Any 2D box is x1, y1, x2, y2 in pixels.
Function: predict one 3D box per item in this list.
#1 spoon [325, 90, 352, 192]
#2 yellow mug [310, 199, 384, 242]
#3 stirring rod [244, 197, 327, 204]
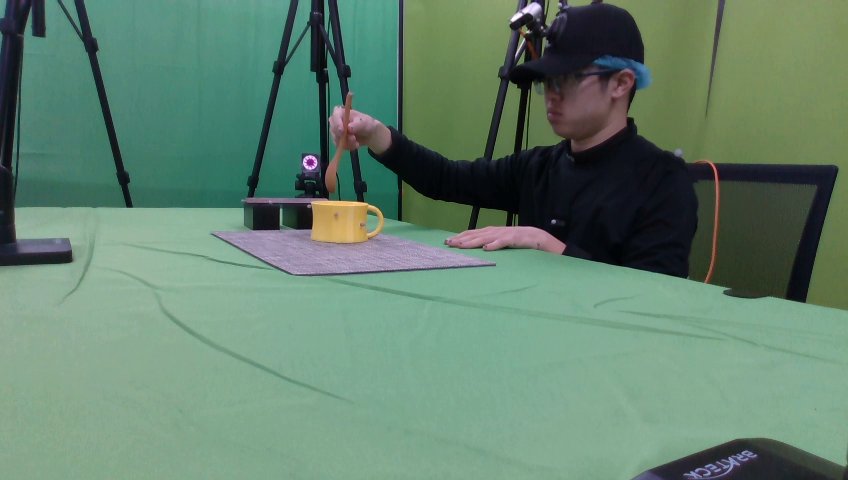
[{"bbox_3d":[-0.159,-0.184,1.135,0.022,0.193,0.041,10,13,-32],"label":"spoon"},{"bbox_3d":[-0.132,-0.035,1.054,0.131,0.064,0.099,0,8,-23],"label":"yellow mug"},{"bbox_3d":[-0.270,-0.078,1.200,0.177,0.006,0.014,-2,44,-37],"label":"stirring rod"}]
